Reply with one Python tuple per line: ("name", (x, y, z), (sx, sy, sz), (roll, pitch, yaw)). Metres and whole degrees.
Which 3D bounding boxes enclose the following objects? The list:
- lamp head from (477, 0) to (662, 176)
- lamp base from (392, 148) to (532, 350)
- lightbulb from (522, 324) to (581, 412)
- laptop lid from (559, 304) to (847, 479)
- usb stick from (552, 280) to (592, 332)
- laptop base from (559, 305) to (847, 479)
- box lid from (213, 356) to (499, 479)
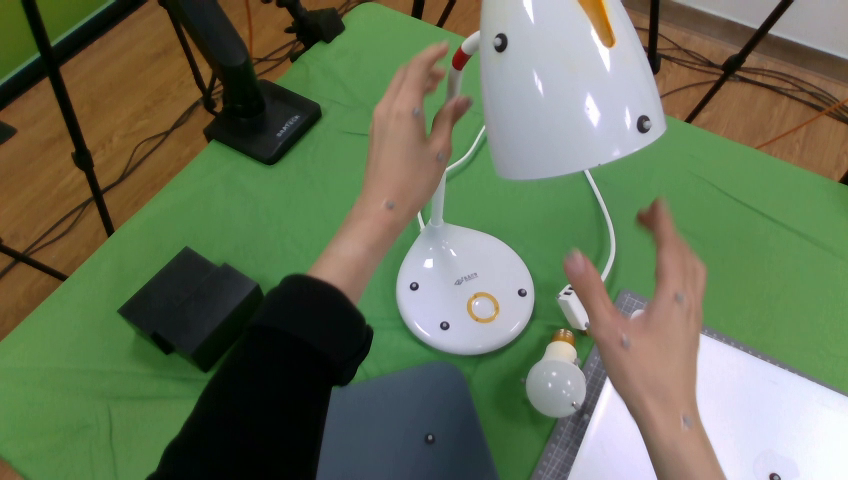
("lamp head", (0.079, -0.114, 0.382), (0.112, 0.123, 0.112), (-20, 15, 6))
("lamp base", (0.035, 0.001, 0.638), (0.160, 0.182, 0.177), (-33, 60, -20))
("lightbulb", (0.137, 0.130, 0.635), (0.059, 0.060, 0.107), (14, 42, 9))
("laptop lid", (0.330, 0.224, 0.580), (0.355, 0.013, 0.240), (25, 63, 15))
("usb stick", (0.167, 0.075, 0.671), (0.027, 0.059, 0.021), (-39, 23, -27))
("laptop base", (0.331, 0.229, 0.591), (0.353, 0.023, 0.234), (24, 63, 14))
("box lid", (-0.041, 0.297, 0.548), (0.264, 0.015, 0.367), (-14, 59, -9))
